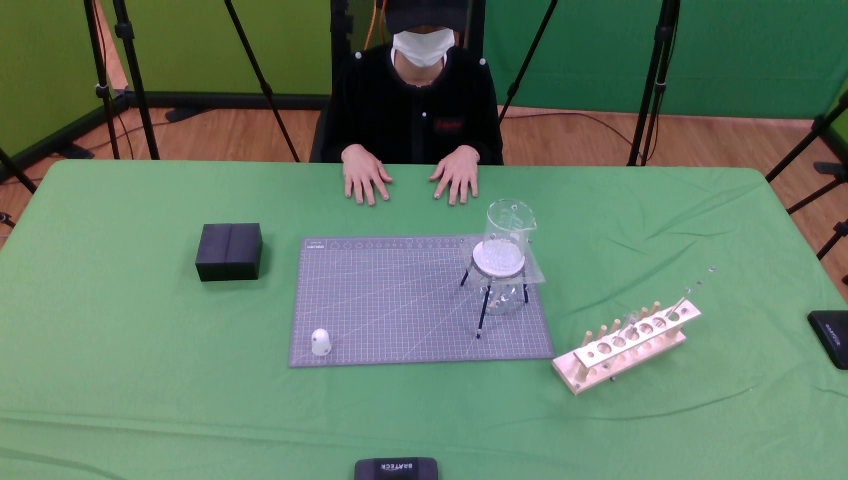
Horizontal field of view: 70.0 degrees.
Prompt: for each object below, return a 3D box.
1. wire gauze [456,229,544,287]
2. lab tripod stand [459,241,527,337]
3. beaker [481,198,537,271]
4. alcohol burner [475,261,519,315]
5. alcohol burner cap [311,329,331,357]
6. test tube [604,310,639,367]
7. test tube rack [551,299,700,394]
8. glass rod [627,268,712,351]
[{"bbox_3d":[0.125,0.030,1.008,0.125,0.011,0.120,-3,48,-11],"label":"wire gauze"},{"bbox_3d":[0.122,0.075,1.054,0.148,0.132,0.147,3,44,-3],"label":"lab tripod stand"},{"bbox_3d":[0.134,-0.005,0.974,0.084,0.101,0.074,23,49,16],"label":"beaker"},{"bbox_3d":[0.131,0.078,1.067,0.078,0.119,0.077,2,47,-2],"label":"alcohol burner"},{"bbox_3d":[-0.173,0.168,1.005,0.034,0.048,0.033,2,46,-2],"label":"alcohol burner cap"},{"bbox_3d":[0.310,0.158,0.957,0.017,0.151,0.017,1,49,-1],"label":"test tube"},{"bbox_3d":[0.339,0.166,1.021,0.242,0.085,0.066,-19,50,-21],"label":"test tube rack"},{"bbox_3d":[0.399,0.117,0.995,0.008,0.200,0.008,26,29,-15],"label":"glass rod"}]
